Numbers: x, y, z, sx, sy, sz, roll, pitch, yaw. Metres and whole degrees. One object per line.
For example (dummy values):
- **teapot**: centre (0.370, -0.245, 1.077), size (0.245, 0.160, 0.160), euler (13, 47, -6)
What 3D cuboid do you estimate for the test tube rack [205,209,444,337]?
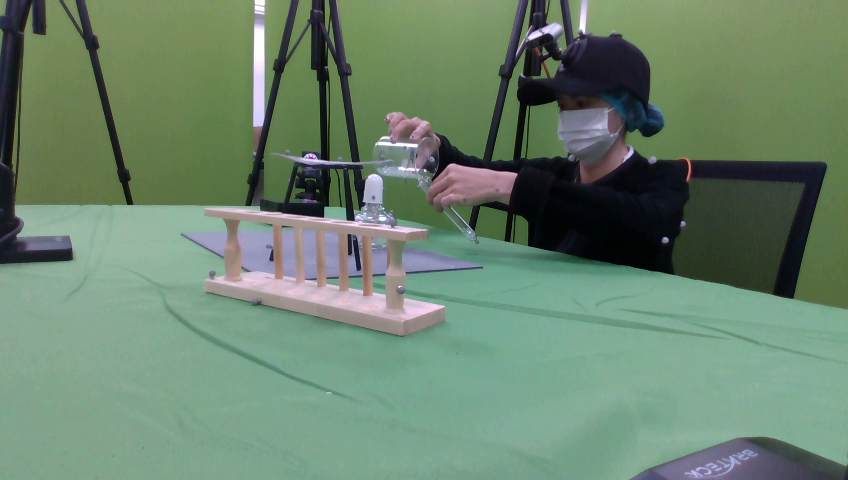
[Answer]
- **test tube rack**: centre (-0.100, 0.021, 0.565), size (0.241, 0.085, 0.067), euler (7, 8, 32)

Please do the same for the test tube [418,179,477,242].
- **test tube**: centre (0.039, -0.050, 1.000), size (0.017, 0.017, 0.149), euler (-6, 46, -48)

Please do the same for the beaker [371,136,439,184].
- **beaker**: centre (-0.036, -0.142, 1.059), size (0.100, 0.084, 0.074), euler (9, 2, 34)

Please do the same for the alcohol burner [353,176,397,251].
- **alcohol burner**: centre (-0.082, -0.043, 0.950), size (0.078, 0.119, 0.078), euler (1, 8, 0)

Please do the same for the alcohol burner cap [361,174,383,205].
- **alcohol burner cap**: centre (-0.080, -0.078, 0.944), size (0.034, 0.048, 0.034), euler (5, 8, 0)

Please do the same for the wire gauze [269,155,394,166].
- **wire gauze**: centre (-0.121, -0.102, 0.785), size (0.122, 0.011, 0.124), euler (-3, 10, -39)

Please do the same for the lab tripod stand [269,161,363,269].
- **lab tripod stand**: centre (-0.125, -0.036, 0.794), size (0.148, 0.131, 0.148), euler (5, 7, 0)
